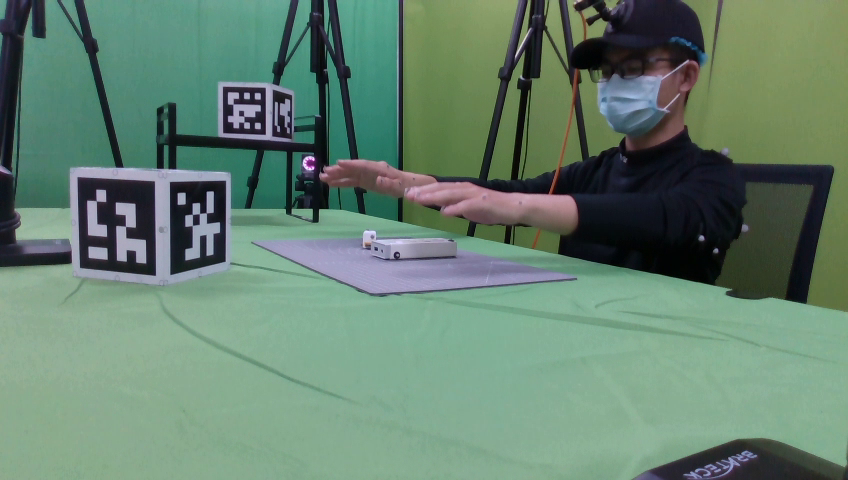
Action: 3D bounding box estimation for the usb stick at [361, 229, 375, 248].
[{"bbox_3d":[-0.091,-0.002,0.984,0.021,0.027,0.059,2,10,-4],"label":"usb stick"}]

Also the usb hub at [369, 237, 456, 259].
[{"bbox_3d":[-0.016,0.012,0.909,0.126,0.025,0.049,-2,9,-32],"label":"usb hub"}]
